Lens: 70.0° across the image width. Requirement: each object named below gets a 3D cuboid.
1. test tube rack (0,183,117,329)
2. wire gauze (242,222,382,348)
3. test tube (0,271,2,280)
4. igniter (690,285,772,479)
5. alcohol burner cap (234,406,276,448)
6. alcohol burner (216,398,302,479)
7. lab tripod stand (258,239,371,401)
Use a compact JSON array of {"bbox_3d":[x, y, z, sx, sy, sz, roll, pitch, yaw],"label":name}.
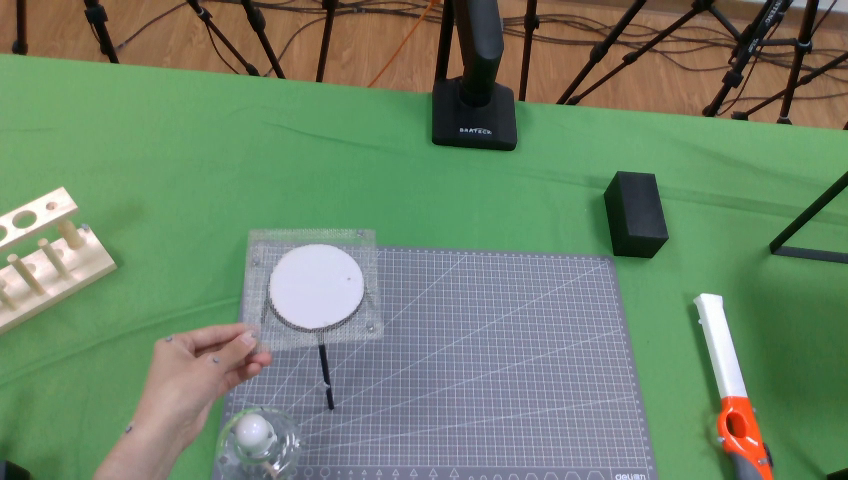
[{"bbox_3d":[-0.456,0.045,0.616,0.242,0.086,0.066,-35,69,-25],"label":"test tube rack"},{"bbox_3d":[-0.103,0.036,0.556,0.122,0.011,0.124,-2,61,-10],"label":"wire gauze"},{"bbox_3d":[-0.449,-0.002,0.588,0.017,0.151,0.017,4,54,-5],"label":"test tube"},{"bbox_3d":[0.343,0.177,0.673,0.057,0.025,0.274,9,58,-14],"label":"igniter"},{"bbox_3d":[-0.148,0.160,0.524,0.034,0.048,0.033,3,65,-5],"label":"alcohol burner cap"},{"bbox_3d":[-0.152,0.178,0.555,0.078,0.120,0.077,4,57,-6],"label":"alcohol burner"},{"bbox_3d":[-0.106,0.074,0.612,0.149,0.132,0.147,4,59,-7],"label":"lab tripod stand"}]
